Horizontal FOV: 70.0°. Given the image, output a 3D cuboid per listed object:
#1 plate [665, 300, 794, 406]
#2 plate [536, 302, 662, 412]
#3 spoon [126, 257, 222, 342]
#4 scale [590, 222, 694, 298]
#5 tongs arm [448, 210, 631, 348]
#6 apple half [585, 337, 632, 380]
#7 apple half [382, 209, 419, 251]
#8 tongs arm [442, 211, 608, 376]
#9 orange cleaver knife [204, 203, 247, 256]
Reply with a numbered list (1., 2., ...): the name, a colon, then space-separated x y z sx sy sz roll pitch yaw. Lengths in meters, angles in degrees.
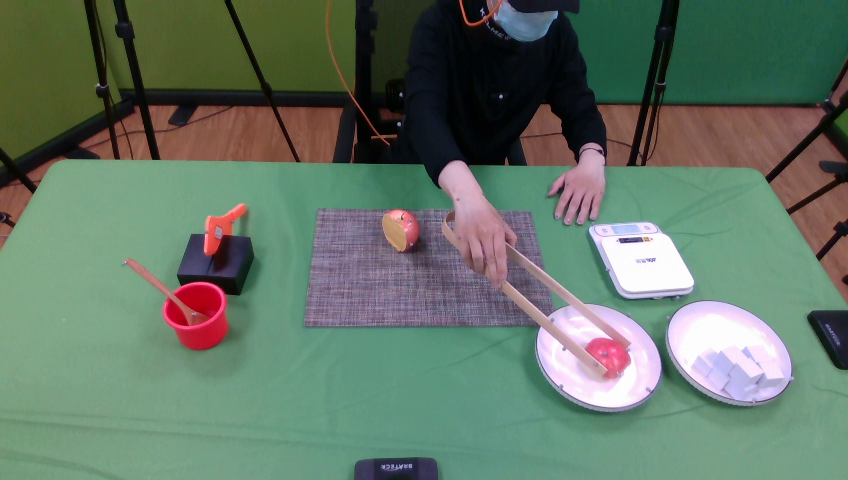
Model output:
1. plate: 0.513 0.194 1.033 0.208 0.039 0.206 2 46 -2
2. plate: 0.288 0.197 1.016 0.209 0.038 0.208 2 46 -2
3. spoon: -0.408 0.096 0.990 0.194 0.021 0.041 50 53 -18
4. scale: 0.424 0.031 1.189 0.149 0.032 0.199 -3 46 -7
5. tongs arm: 0.197 0.064 1.069 0.386 0.028 0.028 39 57 16
6. apple half: 0.304 0.186 0.997 0.081 0.033 0.081 4 46 -4
7. apple half: -0.039 -0.022 1.175 0.053 0.075 0.080 -27 50 -31
8. tongs arm: 0.167 0.085 1.043 0.383 0.026 0.051 41 54 18
9. orange cleaver knife: -0.374 -0.024 1.146 0.012 0.077 0.211 4 14 1
